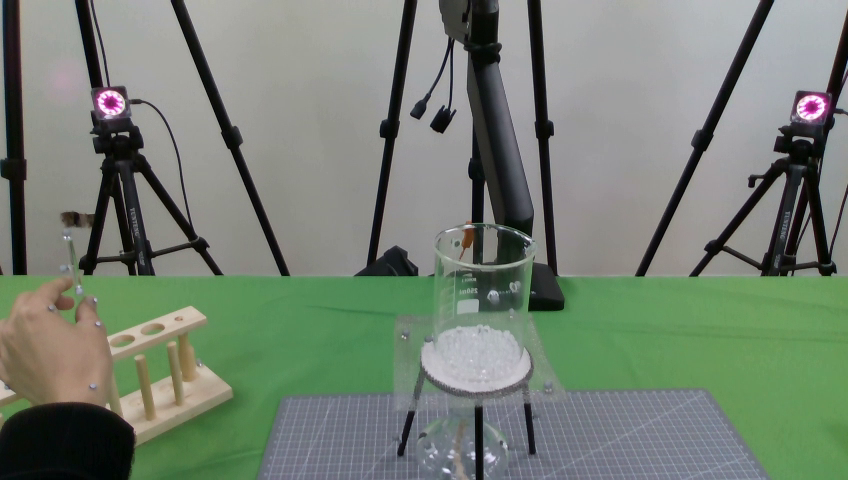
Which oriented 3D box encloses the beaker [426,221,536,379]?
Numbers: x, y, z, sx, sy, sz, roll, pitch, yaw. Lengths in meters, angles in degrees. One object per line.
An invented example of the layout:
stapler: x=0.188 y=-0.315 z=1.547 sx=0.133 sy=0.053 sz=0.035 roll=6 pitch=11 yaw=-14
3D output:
beaker: x=0.042 y=0.044 z=0.450 sx=0.084 sy=0.101 sz=0.073 roll=-10 pitch=28 yaw=-23

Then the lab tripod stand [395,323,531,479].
lab tripod stand: x=0.039 y=0.149 z=0.496 sx=0.148 sy=0.132 sz=0.147 roll=2 pitch=26 yaw=-1

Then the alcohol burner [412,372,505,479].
alcohol burner: x=0.030 y=0.158 z=0.500 sx=0.078 sy=0.120 sz=0.077 roll=2 pitch=24 yaw=-1

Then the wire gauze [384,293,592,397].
wire gauze: x=0.044 y=0.077 z=0.458 sx=0.125 sy=0.011 sz=0.120 roll=-5 pitch=23 yaw=-23

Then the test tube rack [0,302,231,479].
test tube rack: x=-0.308 y=0.147 z=0.555 sx=0.066 sy=0.086 sz=0.243 roll=23 pitch=32 yaw=39

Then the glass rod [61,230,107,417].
glass rod: x=-0.302 y=0.082 z=0.538 sx=0.008 sy=0.201 sz=0.008 roll=4 pitch=27 yaw=-2
